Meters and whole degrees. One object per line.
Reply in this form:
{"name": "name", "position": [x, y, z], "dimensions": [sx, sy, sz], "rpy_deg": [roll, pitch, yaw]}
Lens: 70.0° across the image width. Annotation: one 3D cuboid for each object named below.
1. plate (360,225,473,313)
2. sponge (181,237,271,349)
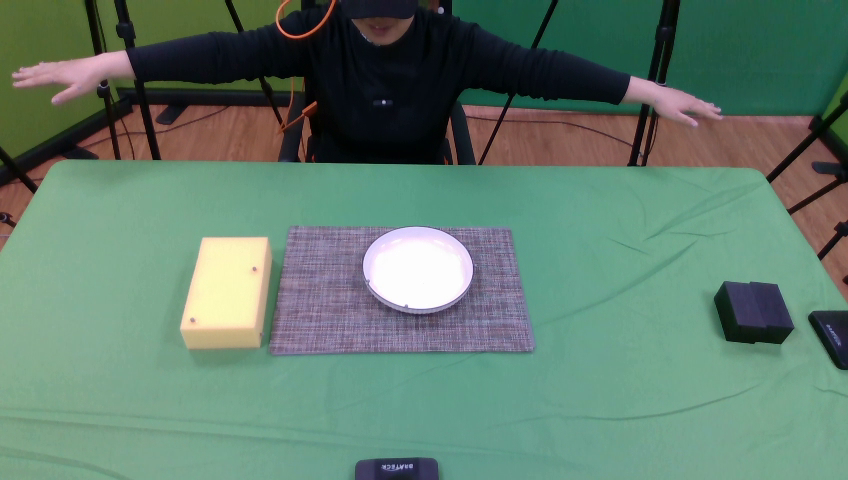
{"name": "plate", "position": [-0.014, 0.057, 1.126], "dimensions": [0.208, 0.039, 0.206], "rpy_deg": [2, 46, -2]}
{"name": "sponge", "position": [-0.341, 0.088, 1.062], "dimensions": [0.118, 0.061, 0.205], "rpy_deg": [-2, 47, -6]}
